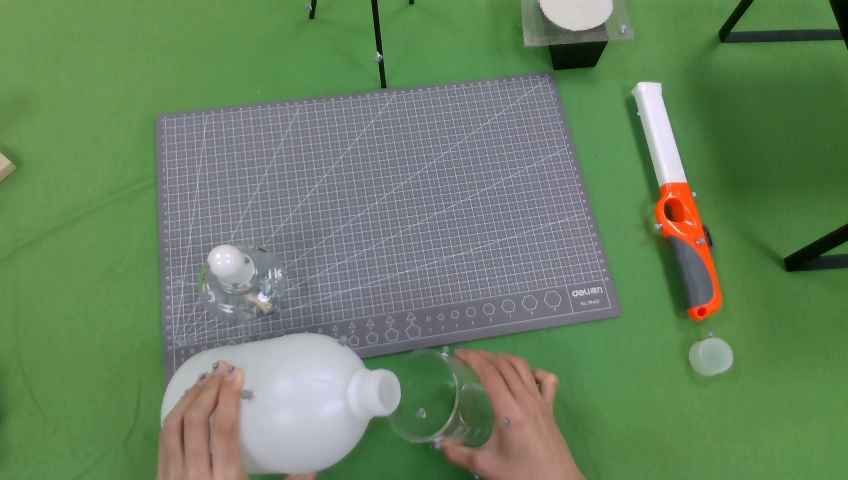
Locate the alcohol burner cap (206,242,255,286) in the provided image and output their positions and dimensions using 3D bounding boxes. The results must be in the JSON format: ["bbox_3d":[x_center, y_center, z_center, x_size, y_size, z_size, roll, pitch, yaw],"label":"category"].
[{"bbox_3d":[-0.166,0.019,0.513,0.034,0.048,0.033,0,76,-1],"label":"alcohol burner cap"}]

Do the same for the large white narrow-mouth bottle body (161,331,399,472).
[{"bbox_3d":[-0.104,0.122,0.461,0.194,0.103,0.101,-15,66,32],"label":"large white narrow-mouth bottle body"}]

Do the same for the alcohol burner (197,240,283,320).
[{"bbox_3d":[-0.169,0.030,0.547,0.078,0.120,0.077,2,68,-5],"label":"alcohol burner"}]

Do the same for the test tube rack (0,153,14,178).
[{"bbox_3d":[-0.524,-0.025,0.559,0.066,0.085,0.242,38,72,10],"label":"test tube rack"}]

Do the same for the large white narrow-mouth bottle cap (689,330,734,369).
[{"bbox_3d":[0.286,0.109,0.605,0.038,0.024,0.037,1,69,-3],"label":"large white narrow-mouth bottle cap"}]

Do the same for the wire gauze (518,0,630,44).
[{"bbox_3d":[0.165,-0.276,0.689,0.121,0.011,0.124,-1,70,-4],"label":"wire gauze"}]

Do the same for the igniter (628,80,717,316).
[{"bbox_3d":[0.268,-0.053,0.658,0.057,0.025,0.274,-1,70,-16],"label":"igniter"}]

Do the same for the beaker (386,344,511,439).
[{"bbox_3d":[0.023,0.136,0.528,0.084,0.101,0.073,-19,63,32],"label":"beaker"}]

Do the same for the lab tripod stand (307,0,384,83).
[{"bbox_3d":[-0.062,-0.267,0.655,0.148,0.132,0.147,2,71,-5],"label":"lab tripod stand"}]
